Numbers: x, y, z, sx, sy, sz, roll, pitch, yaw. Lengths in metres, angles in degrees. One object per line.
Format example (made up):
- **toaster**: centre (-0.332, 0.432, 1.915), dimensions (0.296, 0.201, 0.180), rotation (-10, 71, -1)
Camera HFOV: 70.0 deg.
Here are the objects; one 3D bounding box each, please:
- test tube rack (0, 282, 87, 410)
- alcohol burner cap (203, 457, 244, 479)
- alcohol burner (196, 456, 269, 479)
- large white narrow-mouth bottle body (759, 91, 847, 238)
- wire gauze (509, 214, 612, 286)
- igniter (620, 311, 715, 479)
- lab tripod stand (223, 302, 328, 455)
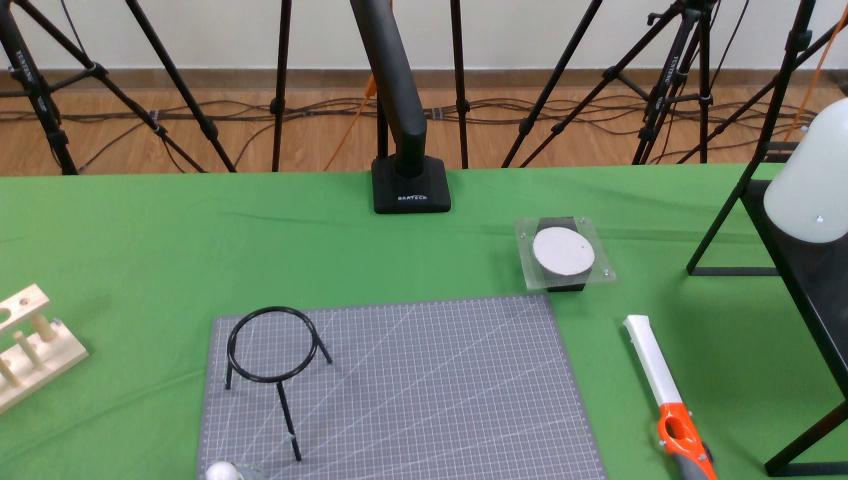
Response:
- **test tube rack**: centre (-0.511, 0.156, 0.654), dimensions (0.066, 0.086, 0.242), rotation (36, 55, 23)
- **alcohol burner cap**: centre (-0.188, 0.220, 0.563), dimensions (0.034, 0.048, 0.033), rotation (2, 55, -3)
- **alcohol burner**: centre (-0.191, 0.243, 0.591), dimensions (0.078, 0.120, 0.077), rotation (4, 48, -4)
- **large white narrow-mouth bottle body**: centre (0.456, -0.097, 0.659), dimensions (0.102, 0.196, 0.101), rotation (3, 49, -3)
- **wire gauze**: centre (0.186, 0.009, 0.839), dimensions (0.122, 0.011, 0.123), rotation (-2, 51, -7)
- **igniter**: centre (0.296, 0.204, 0.734), dimensions (0.057, 0.025, 0.273), rotation (5, 48, -16)
- **lab tripod stand**: centre (-0.160, 0.144, 0.665), dimensions (0.148, 0.132, 0.147), rotation (4, 50, -5)
